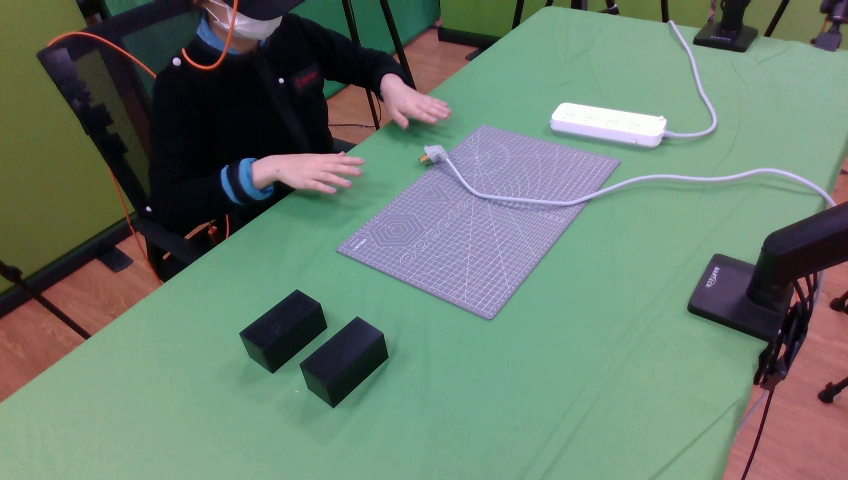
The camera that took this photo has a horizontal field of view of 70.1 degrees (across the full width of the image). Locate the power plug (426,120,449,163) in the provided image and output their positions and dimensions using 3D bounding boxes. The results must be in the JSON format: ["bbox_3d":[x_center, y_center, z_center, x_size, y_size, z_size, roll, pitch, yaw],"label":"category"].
[{"bbox_3d":[0.034,-0.181,1.142,0.053,0.072,0.035,31,27,-18],"label":"power plug"}]

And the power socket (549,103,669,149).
[{"bbox_3d":[0.353,-0.222,1.169,0.225,0.033,0.072,17,47,25],"label":"power socket"}]
